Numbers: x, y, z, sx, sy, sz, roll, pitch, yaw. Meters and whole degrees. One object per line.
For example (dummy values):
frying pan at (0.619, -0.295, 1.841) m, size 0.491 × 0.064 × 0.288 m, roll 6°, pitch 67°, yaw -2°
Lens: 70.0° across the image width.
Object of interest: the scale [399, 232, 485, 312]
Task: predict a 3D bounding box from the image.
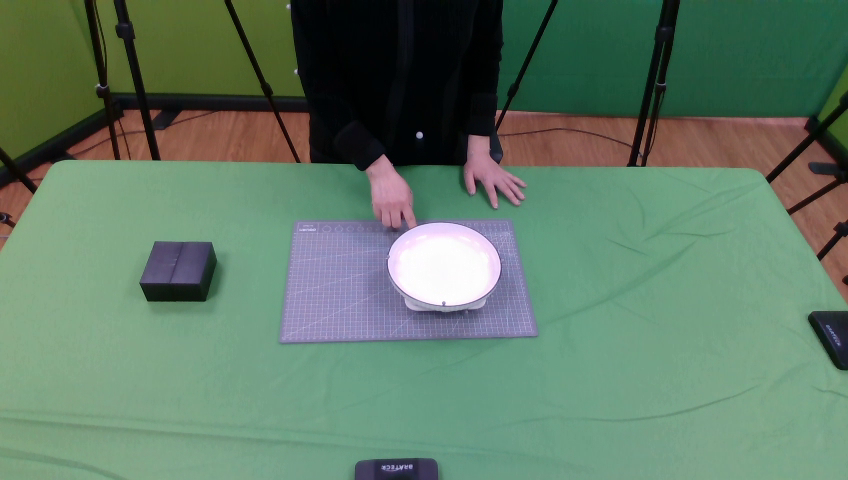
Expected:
scale at (0.031, 0.051, 1.141) m, size 0.149 × 0.032 × 0.199 m, roll -1°, pitch 46°, yaw -5°

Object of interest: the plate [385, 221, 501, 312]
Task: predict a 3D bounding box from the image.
plate at (0.034, 0.050, 1.096) m, size 0.209 × 0.038 × 0.208 m, roll 2°, pitch 46°, yaw -2°
